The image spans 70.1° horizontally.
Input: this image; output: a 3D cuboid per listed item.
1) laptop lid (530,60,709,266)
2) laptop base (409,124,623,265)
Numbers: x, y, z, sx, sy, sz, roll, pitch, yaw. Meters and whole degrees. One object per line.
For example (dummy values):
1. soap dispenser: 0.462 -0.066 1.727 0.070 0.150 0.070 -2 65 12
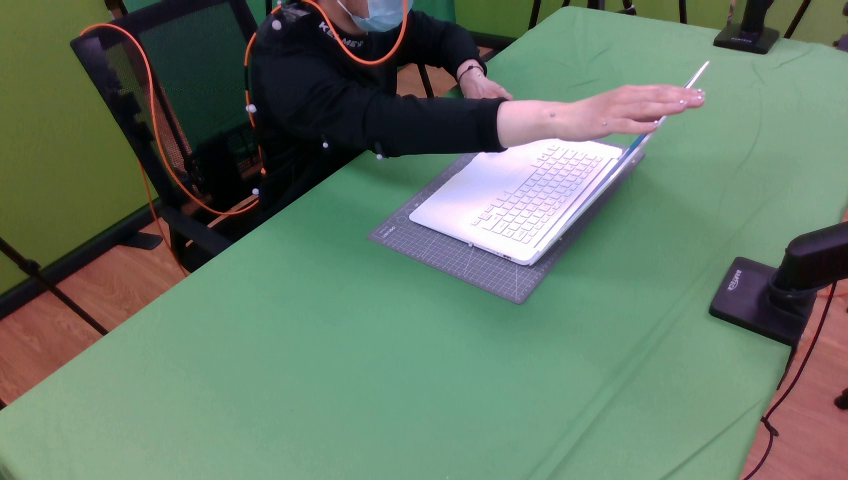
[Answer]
1. laptop lid: 0.295 -0.116 0.904 0.013 0.241 0.357 41 53 8
2. laptop base: 0.168 -0.095 1.057 0.233 0.023 0.355 20 47 32
